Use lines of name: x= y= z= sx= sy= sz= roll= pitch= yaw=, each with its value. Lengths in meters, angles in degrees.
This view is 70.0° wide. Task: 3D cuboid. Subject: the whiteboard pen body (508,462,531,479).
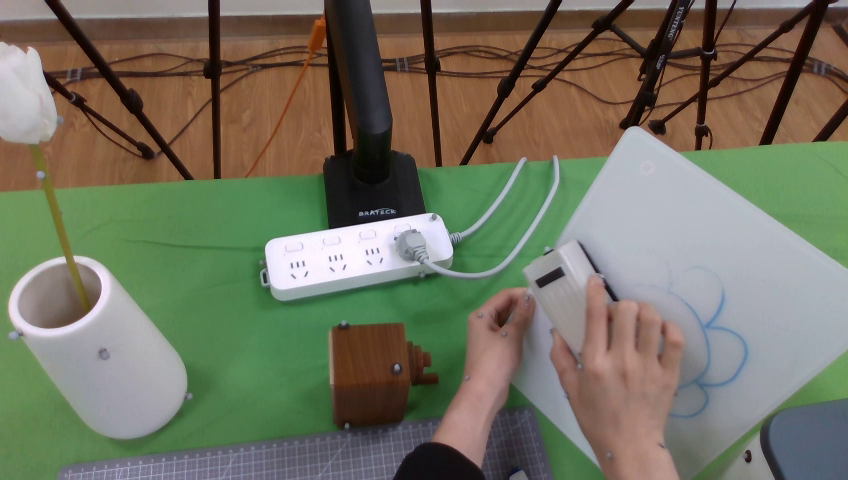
whiteboard pen body: x=0.116 y=0.267 z=0.545 sx=0.017 sy=0.017 sz=0.139 roll=-20 pitch=58 yaw=-19

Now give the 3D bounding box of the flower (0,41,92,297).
flower: x=-0.259 y=0.033 z=0.461 sx=0.038 sy=0.364 sz=0.043 roll=-14 pitch=39 yaw=-24

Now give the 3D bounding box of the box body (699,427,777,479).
box body: x=0.409 y=0.315 z=0.462 sx=0.255 sy=0.161 sz=0.360 roll=-5 pitch=56 yaw=-10

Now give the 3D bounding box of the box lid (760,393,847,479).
box lid: x=0.416 y=0.270 z=0.402 sx=0.264 sy=0.015 sz=0.367 roll=-5 pitch=55 yaw=-10

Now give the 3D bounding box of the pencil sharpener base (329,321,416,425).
pencil sharpener base: x=-0.049 y=0.128 z=0.576 sx=0.077 sy=0.108 sz=0.060 roll=-2 pitch=55 yaw=-9

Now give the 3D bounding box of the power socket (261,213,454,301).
power socket: x=-0.072 y=0.018 z=0.697 sx=0.227 sy=0.033 sz=0.071 roll=-9 pitch=57 yaw=-13

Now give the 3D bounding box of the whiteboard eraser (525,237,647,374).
whiteboard eraser: x=0.140 y=0.056 z=0.524 sx=0.042 sy=0.055 sz=0.112 roll=-23 pitch=80 yaw=-50

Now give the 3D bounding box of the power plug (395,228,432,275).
power plug: x=-0.013 y=0.019 z=0.674 sx=0.035 sy=0.053 sz=0.072 roll=-1 pitch=56 yaw=-7

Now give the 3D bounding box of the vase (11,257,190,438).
vase: x=-0.269 y=0.096 z=0.517 sx=0.098 sy=0.201 sz=0.097 roll=2 pitch=54 yaw=-3

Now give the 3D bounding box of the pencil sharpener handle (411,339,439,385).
pencil sharpener handle: x=0.002 y=0.119 z=0.574 sx=0.031 sy=0.068 sz=0.035 roll=-2 pitch=55 yaw=-8

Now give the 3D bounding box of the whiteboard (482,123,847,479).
whiteboard: x=0.230 y=0.065 z=0.568 sx=0.215 sy=0.307 sz=0.144 roll=43 pitch=42 yaw=22
